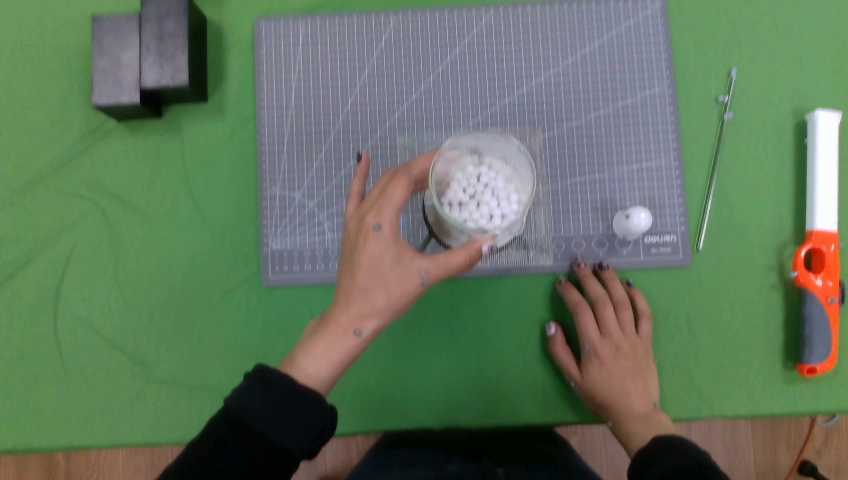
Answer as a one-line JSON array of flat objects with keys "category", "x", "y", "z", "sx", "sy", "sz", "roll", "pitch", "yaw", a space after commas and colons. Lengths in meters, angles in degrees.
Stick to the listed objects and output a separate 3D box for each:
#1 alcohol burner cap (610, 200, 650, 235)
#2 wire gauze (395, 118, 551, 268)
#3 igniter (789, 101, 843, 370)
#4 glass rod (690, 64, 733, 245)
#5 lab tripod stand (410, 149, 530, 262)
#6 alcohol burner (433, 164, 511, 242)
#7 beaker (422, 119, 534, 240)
[{"category": "alcohol burner cap", "x": 0.211, "y": -0.024, "z": 0.616, "sx": 0.034, "sy": 0.048, "sz": 0.034, "roll": 0, "pitch": 83, "yaw": 3}, {"category": "wire gauze", "x": 0.040, "y": -0.040, "z": 0.507, "sx": 0.125, "sy": 0.011, "sz": 0.121, "roll": -4, "pitch": 84, "yaw": 2}, {"category": "igniter", "x": 0.403, "y": -0.005, "z": 0.621, "sx": 0.057, "sy": 0.025, "sz": 0.276, "roll": 6, "pitch": 85, "yaw": -9}, {"category": "glass rod", "x": 0.304, "y": -0.091, "z": 0.640, "sx": 0.008, "sy": 0.008, "sz": 0.199, "roll": 14, "pitch": 85, "yaw": 2}, {"category": "lab tripod stand", "x": 0.042, "y": -0.030, "z": 0.574, "sx": 0.148, "sy": 0.132, "sz": 0.148, "roll": 0, "pitch": 83, "yaw": 3}, {"category": "alcohol burner", "x": 0.048, "y": -0.039, "z": 0.585, "sx": 0.078, "sy": 0.119, "sz": 0.077, "roll": 0, "pitch": 82, "yaw": 1}, {"category": "beaker", "x": 0.042, "y": -0.037, "z": 0.458, "sx": 0.074, "sy": 0.100, "sz": 0.084, "roll": -35, "pitch": 84, "yaw": -1}]
